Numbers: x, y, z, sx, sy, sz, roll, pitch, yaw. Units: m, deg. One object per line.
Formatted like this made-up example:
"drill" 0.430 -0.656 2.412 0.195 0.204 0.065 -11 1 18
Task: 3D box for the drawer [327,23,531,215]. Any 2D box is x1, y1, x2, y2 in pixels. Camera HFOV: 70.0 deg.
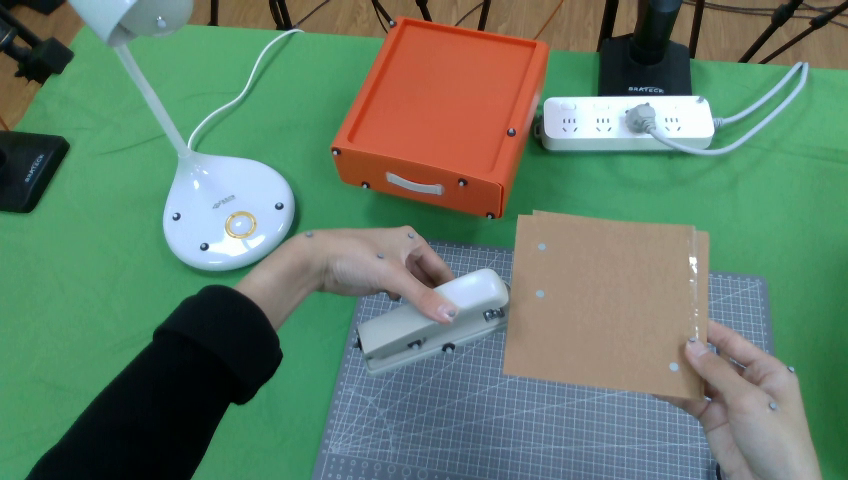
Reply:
"drawer" 0.019 -0.149 0.716 0.194 0.074 0.210 14 61 13

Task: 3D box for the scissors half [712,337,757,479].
"scissors half" 0.298 0.175 0.596 0.040 0.013 0.173 10 57 -1

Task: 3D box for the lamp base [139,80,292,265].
"lamp base" -0.259 -0.085 0.691 0.177 0.182 0.160 37 68 25

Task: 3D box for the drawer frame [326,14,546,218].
"drawer frame" 0.020 -0.153 0.721 0.201 0.083 0.212 14 63 12

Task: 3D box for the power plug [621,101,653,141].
"power plug" 0.260 -0.139 0.745 0.035 0.053 0.072 11 62 10

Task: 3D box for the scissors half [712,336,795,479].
"scissors half" 0.319 0.174 0.597 0.040 0.013 0.173 -7 59 -6

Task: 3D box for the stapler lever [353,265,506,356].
"stapler lever" 0.003 0.051 0.444 0.118 0.040 0.026 -20 61 2

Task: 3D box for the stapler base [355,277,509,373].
"stapler base" 0.008 0.061 0.467 0.130 0.024 0.041 -20 61 2

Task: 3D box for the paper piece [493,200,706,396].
"paper piece" 0.136 0.037 0.462 0.135 0.004 0.135 14 64 19

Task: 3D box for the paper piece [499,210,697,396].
"paper piece" 0.130 0.040 0.450 0.135 0.009 0.137 5 65 12

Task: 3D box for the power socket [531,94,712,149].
"power socket" 0.254 -0.153 0.780 0.226 0.033 0.071 1 61 4

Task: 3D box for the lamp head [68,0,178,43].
"lamp head" -0.230 -0.220 0.432 0.123 0.112 0.112 46 67 -16
